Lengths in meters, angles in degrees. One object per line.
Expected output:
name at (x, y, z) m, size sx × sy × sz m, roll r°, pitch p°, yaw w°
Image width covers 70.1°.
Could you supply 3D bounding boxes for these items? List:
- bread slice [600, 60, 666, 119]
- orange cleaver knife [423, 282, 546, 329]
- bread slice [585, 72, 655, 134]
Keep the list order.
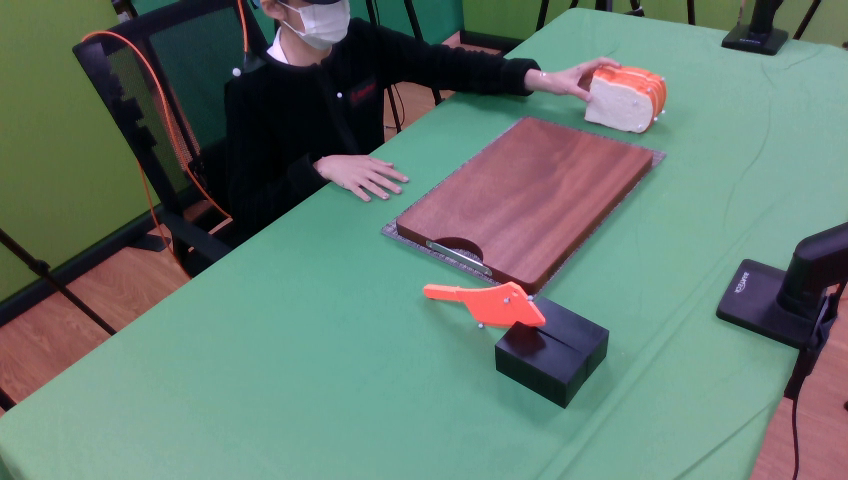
bread slice at (0.403, -0.285, 1.186) m, size 0.133 × 0.107 × 0.018 m, roll 24°, pitch 55°, yaw 21°
orange cleaver knife at (0.076, 0.087, 0.814) m, size 0.012 × 0.077 × 0.210 m, roll -41°, pitch 22°, yaw -31°
bread slice at (0.374, -0.257, 1.155) m, size 0.130 × 0.105 × 0.019 m, roll 25°, pitch 53°, yaw 24°
